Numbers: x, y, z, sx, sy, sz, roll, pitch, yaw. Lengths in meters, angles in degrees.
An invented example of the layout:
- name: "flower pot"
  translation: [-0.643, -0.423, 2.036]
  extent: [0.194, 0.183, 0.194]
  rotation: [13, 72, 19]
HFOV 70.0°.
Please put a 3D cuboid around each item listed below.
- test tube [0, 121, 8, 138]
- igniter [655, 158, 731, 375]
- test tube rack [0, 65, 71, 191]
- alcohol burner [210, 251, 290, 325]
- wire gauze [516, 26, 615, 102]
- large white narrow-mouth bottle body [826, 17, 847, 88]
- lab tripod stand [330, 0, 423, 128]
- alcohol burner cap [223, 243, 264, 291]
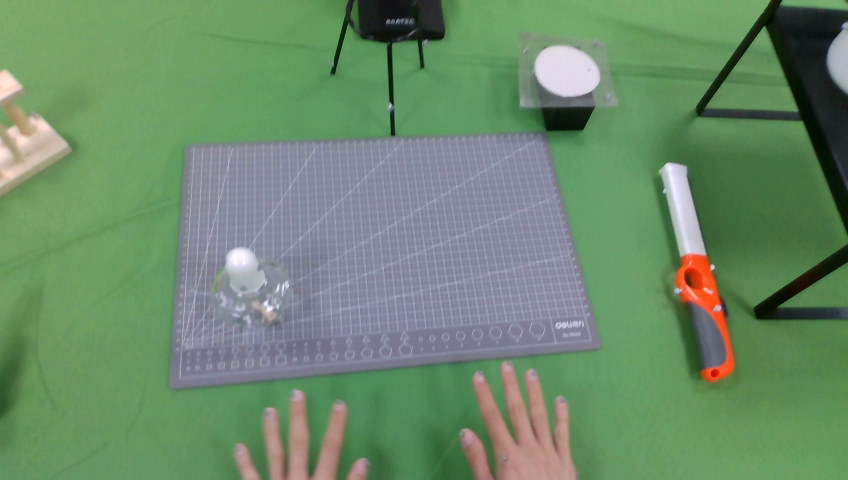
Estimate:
- name: "test tube"
  translation: [-0.478, -0.156, 0.626]
  extent: [0.017, 0.151, 0.017]
  rotation: [1, 61, -2]
- name: "igniter"
  translation: [0.312, 0.023, 0.710]
  extent: [0.057, 0.025, 0.274]
  rotation: [7, 62, -14]
- name: "test tube rack"
  translation: [-0.517, -0.075, 0.636]
  extent: [0.066, 0.086, 0.242]
  rotation: [41, 66, 14]
- name: "alcohol burner"
  translation: [-0.173, 0.039, 0.597]
  extent: [0.078, 0.120, 0.077]
  rotation: [4, 61, -6]
- name: "wire gauze"
  translation: [0.179, -0.225, 0.777]
  extent: [0.121, 0.011, 0.124]
  rotation: [3, 62, -4]
- name: "large white narrow-mouth bottle body"
  translation: [0.478, -0.226, 0.557]
  extent: [0.102, 0.196, 0.101]
  rotation: [3, 63, -5]
- name: "lab tripod stand"
  translation: [-0.049, -0.234, 0.742]
  extent: [0.148, 0.132, 0.147]
  rotation: [3, 63, -6]
- name: "alcohol burner cap"
  translation: [-0.170, 0.023, 0.565]
  extent: [0.034, 0.048, 0.033]
  rotation: [2, 58, -2]
